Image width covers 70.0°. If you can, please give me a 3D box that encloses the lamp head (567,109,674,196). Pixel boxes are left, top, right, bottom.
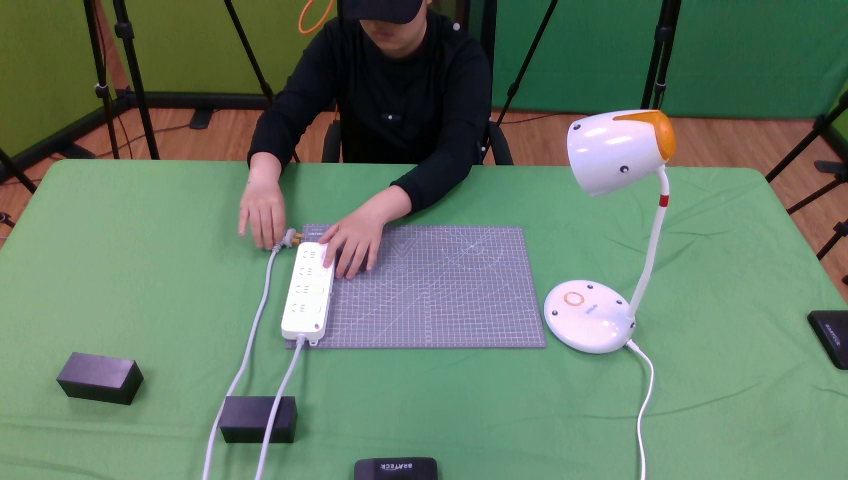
[{"bbox_3d":[0.272,-0.123,0.818,0.122,0.113,0.112,-9,35,37],"label":"lamp head"}]

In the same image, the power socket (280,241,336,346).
[{"bbox_3d":[-0.206,0.086,1.086,0.072,0.033,0.225,3,47,-1],"label":"power socket"}]

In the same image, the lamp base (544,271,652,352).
[{"bbox_3d":[0.309,0.086,1.029,0.178,0.181,0.160,32,52,21],"label":"lamp base"}]

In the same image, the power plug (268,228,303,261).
[{"bbox_3d":[-0.265,0.012,1.172,0.052,0.035,0.072,12,83,14],"label":"power plug"}]
